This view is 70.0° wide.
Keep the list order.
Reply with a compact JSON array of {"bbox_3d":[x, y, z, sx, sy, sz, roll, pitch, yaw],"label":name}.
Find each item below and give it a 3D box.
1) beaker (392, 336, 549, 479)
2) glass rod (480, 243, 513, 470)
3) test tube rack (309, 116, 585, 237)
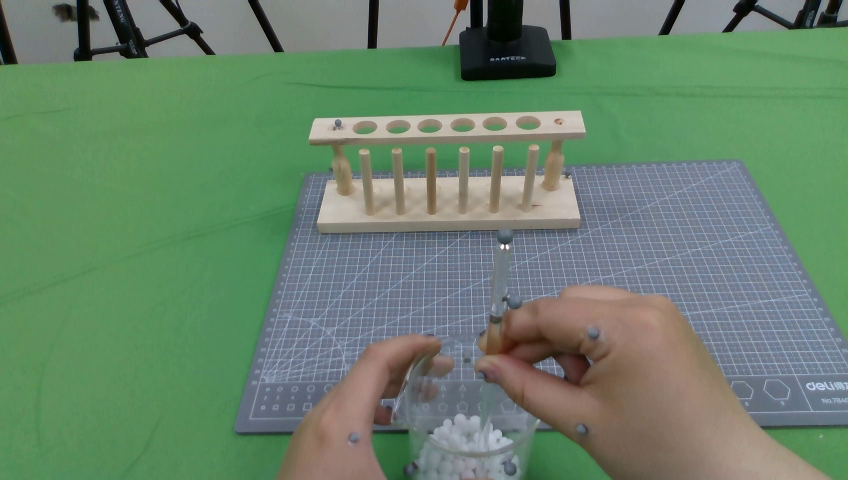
[{"bbox_3d":[0.024,0.116,0.348,0.084,0.101,0.073,-13,45,-13],"label":"beaker"},{"bbox_3d":[0.035,0.072,0.301,0.008,0.201,0.008,-1,46,2],"label":"glass rod"},{"bbox_3d":[0.021,-0.057,0.557,0.242,0.086,0.066,-1,44,3],"label":"test tube rack"}]
